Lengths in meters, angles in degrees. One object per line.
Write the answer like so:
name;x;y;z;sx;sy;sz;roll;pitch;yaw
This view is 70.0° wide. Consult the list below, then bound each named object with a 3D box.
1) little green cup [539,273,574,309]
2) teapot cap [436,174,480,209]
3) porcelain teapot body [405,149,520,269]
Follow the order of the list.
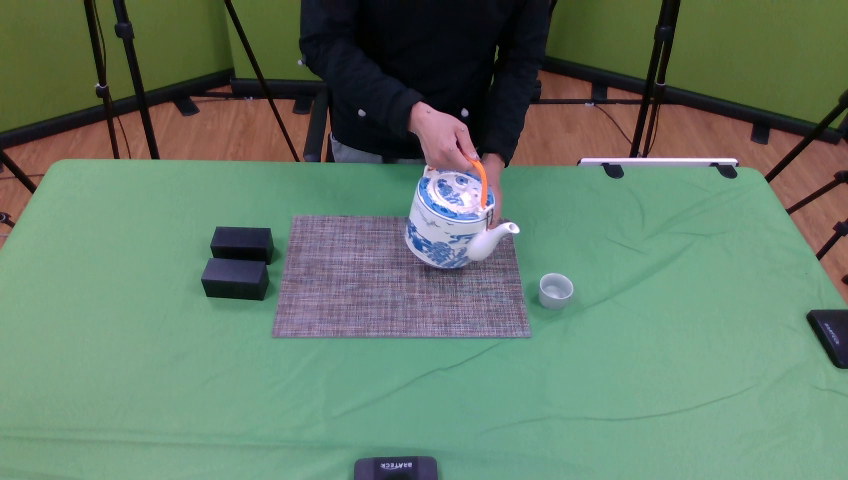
little green cup;0.240;0.096;1.113;0.061;0.039;0.061;2;47;-2
teapot cap;0.062;-0.088;1.052;0.085;0.044;0.084;5;50;-6
porcelain teapot body;0.076;-0.045;1.071;0.204;0.226;0.145;35;48;18
